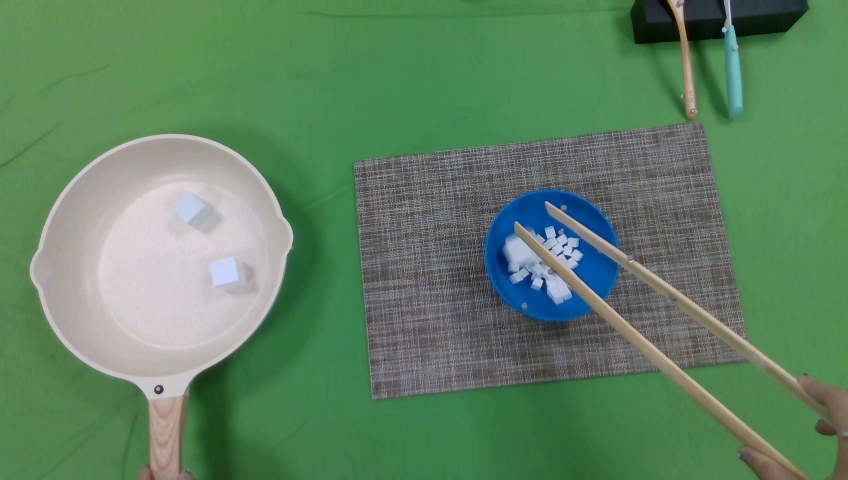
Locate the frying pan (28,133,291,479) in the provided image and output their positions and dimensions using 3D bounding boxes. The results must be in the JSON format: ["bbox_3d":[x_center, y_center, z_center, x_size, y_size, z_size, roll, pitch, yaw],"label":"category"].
[{"bbox_3d":[-0.293,0.115,0.693,0.307,0.103,0.484,-7,70,1],"label":"frying pan"}]

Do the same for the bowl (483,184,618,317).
[{"bbox_3d":[0.142,0.019,0.707,0.151,0.077,0.150,0,78,2],"label":"bowl"}]

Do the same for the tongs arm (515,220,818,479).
[{"bbox_3d":[0.208,0.091,0.533,0.028,0.028,0.383,-35,51,-12],"label":"tongs arm"}]

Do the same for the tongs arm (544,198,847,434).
[{"bbox_3d":[0.230,0.074,0.537,0.051,0.027,0.380,-40,52,-11],"label":"tongs arm"}]

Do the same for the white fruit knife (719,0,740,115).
[{"bbox_3d":[0.375,-0.262,0.754,0.016,0.027,0.207,-7,95,7],"label":"white fruit knife"}]

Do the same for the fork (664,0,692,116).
[{"bbox_3d":[0.316,-0.259,0.757,0.028,0.018,0.208,-13,99,-5],"label":"fork"}]
